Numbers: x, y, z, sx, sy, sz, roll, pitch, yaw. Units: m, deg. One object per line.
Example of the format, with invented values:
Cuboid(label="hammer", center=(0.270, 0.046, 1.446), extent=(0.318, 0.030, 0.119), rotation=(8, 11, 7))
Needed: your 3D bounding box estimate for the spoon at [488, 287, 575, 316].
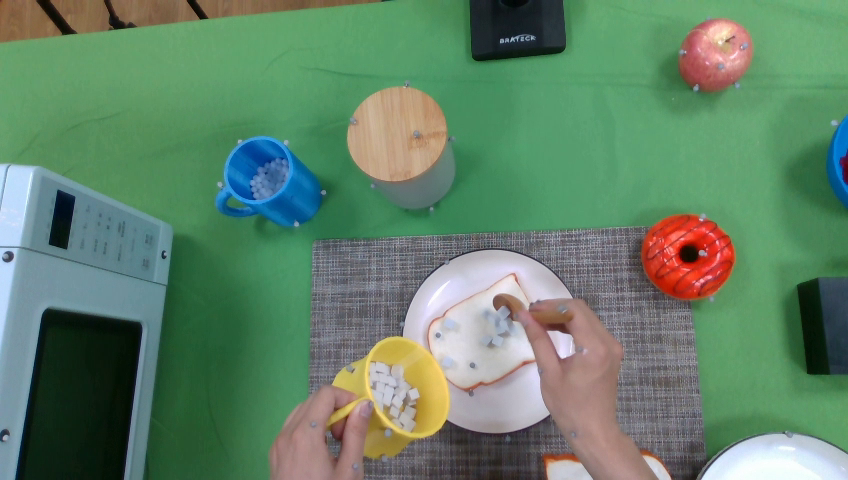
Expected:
Cuboid(label="spoon", center=(0.101, 0.064, 0.585), extent=(0.021, 0.193, 0.042), rotation=(-43, 95, -8))

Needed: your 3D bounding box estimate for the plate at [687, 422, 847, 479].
Cuboid(label="plate", center=(0.370, 0.292, 0.623), extent=(0.209, 0.038, 0.208), rotation=(-2, 79, 8))

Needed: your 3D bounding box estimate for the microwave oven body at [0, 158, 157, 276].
Cuboid(label="microwave oven body", center=(-0.508, 0.158, 0.652), extent=(0.325, 0.261, 0.440), rotation=(1, 80, 8))

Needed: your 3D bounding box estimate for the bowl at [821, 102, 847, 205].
Cuboid(label="bowl", center=(0.501, -0.085, 0.657), extent=(0.151, 0.077, 0.150), rotation=(-2, 79, 8))

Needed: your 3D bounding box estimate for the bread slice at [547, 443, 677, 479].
Cuboid(label="bread slice", center=(0.202, 0.269, 0.624), extent=(0.135, 0.018, 0.106), rotation=(-6, 74, -14))

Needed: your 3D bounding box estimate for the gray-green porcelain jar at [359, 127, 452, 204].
Cuboid(label="gray-green porcelain jar", center=(-0.023, -0.104, 0.709), extent=(0.106, 0.127, 0.105), rotation=(-2, 78, 8))

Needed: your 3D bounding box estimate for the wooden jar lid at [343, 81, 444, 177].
Cuboid(label="wooden jar lid", center=(-0.032, -0.117, 0.649), extent=(0.108, 0.021, 0.108), rotation=(-2, 77, 8))

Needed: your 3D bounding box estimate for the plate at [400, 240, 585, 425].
Cuboid(label="plate", center=(0.077, 0.105, 0.696), extent=(0.207, 0.039, 0.206), rotation=(-2, 79, 8))

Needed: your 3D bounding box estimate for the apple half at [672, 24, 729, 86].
Cuboid(label="apple half", center=(0.313, -0.206, 0.708), extent=(0.033, 0.082, 0.081), rotation=(-34, 76, -5))

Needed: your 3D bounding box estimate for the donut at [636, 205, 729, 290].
Cuboid(label="donut", center=(0.290, 0.009, 0.682), extent=(0.099, 0.048, 0.098), rotation=(-1, 80, 8))

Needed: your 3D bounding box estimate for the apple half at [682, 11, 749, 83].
Cuboid(label="apple half", center=(0.344, -0.229, 0.710), extent=(0.053, 0.075, 0.080), rotation=(-34, 72, -5))

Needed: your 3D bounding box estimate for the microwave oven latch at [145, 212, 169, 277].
Cuboid(label="microwave oven latch", center=(-0.341, 0.006, 0.758), extent=(0.030, 0.029, 0.079), rotation=(3, 80, 8))

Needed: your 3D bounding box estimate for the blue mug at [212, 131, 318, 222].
Cuboid(label="blue mug", center=(-0.199, -0.067, 0.737), extent=(0.116, 0.106, 0.082), rotation=(-28, 76, 2))

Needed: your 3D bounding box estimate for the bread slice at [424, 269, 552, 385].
Cuboid(label="bread slice", center=(0.067, 0.107, 0.699), extent=(0.131, 0.019, 0.104), rotation=(-28, 76, 0))

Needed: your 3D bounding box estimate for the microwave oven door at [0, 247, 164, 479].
Cuboid(label="microwave oven door", center=(-0.366, 0.200, 0.619), extent=(0.039, 0.245, 0.354), rotation=(0, 79, 8))

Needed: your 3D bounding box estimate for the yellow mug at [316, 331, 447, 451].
Cuboid(label="yellow mug", center=(-0.046, 0.149, 0.579), extent=(0.064, 0.131, 0.099), rotation=(-39, 71, 39))
